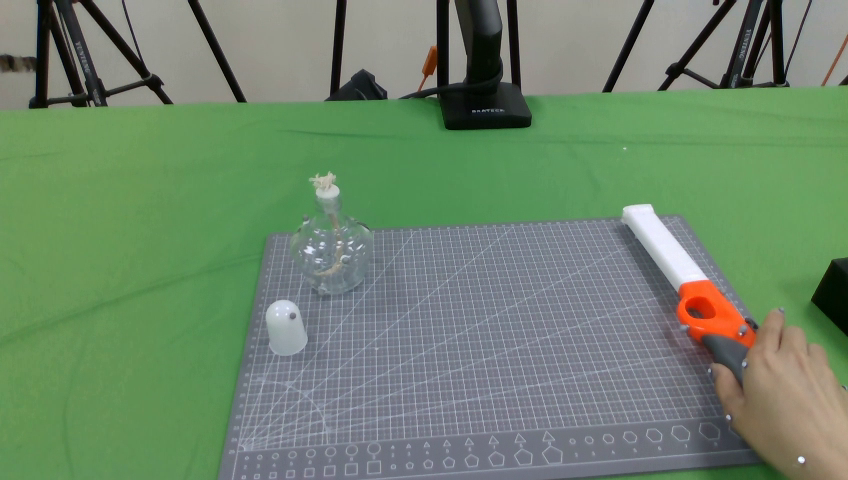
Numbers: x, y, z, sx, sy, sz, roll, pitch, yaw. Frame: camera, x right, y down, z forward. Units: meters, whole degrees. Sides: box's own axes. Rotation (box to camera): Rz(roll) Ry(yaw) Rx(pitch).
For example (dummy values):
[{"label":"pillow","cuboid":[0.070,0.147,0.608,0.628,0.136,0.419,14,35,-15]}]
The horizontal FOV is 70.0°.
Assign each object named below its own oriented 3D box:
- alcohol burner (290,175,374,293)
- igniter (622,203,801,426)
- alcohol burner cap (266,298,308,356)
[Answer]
[{"label":"alcohol burner","cuboid":[-0.084,-0.010,0.550,0.078,0.120,0.077,2,40,-1]},{"label":"igniter","cuboid":[0.243,0.049,0.539,0.057,0.025,0.273,-7,37,-4]},{"label":"alcohol burner cap","cuboid":[-0.116,0.070,0.508,0.034,0.048,0.033,1,39,0]}]
